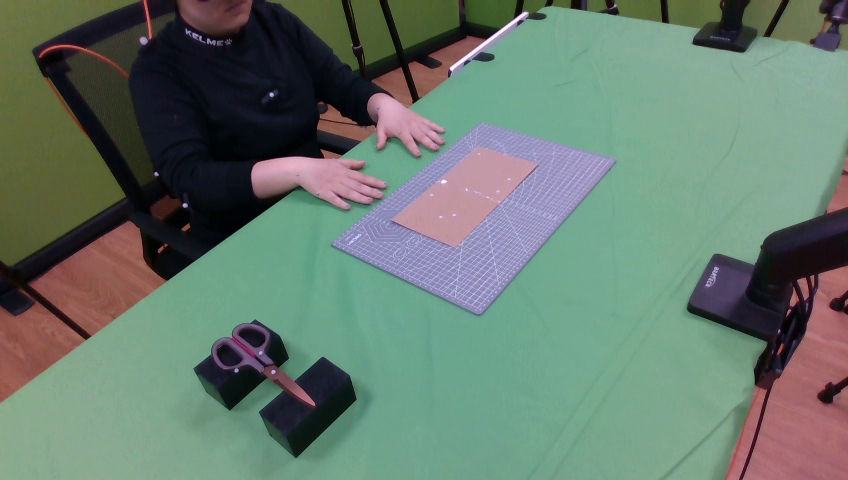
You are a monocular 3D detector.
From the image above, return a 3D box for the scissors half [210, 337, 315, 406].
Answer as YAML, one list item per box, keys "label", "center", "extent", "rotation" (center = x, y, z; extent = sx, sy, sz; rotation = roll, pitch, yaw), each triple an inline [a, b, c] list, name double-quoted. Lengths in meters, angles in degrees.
- label: "scissors half"
  center: [-0.198, 0.163, 0.736]
  extent: [0.174, 0.013, 0.040]
  rotation: [20, 41, 26]

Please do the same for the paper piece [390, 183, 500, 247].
- label: "paper piece"
  center: [0.037, -0.048, 1.027]
  extent: [0.134, 0.004, 0.136]
  rotation: [24, 48, 30]

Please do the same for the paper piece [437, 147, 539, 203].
- label: "paper piece"
  center: [0.117, -0.122, 1.104]
  extent: [0.135, 0.009, 0.138]
  rotation: [25, 49, 29]

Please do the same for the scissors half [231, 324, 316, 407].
- label: "scissors half"
  center: [-0.185, 0.153, 0.748]
  extent: [0.040, 0.013, 0.173]
  rotation: [-32, 48, -28]
